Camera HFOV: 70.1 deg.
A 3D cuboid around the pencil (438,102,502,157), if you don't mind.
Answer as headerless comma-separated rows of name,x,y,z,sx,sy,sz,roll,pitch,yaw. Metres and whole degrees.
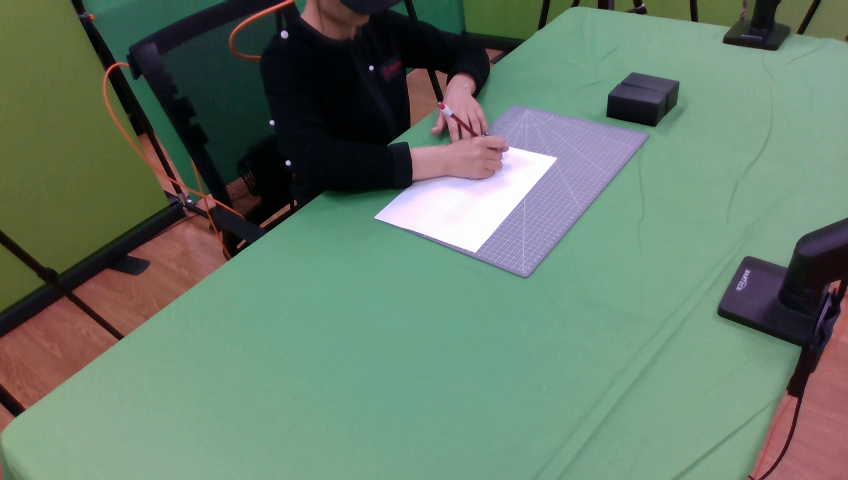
pencil,0.087,-0.193,1.081,0.012,0.196,0.012,-21,56,34
